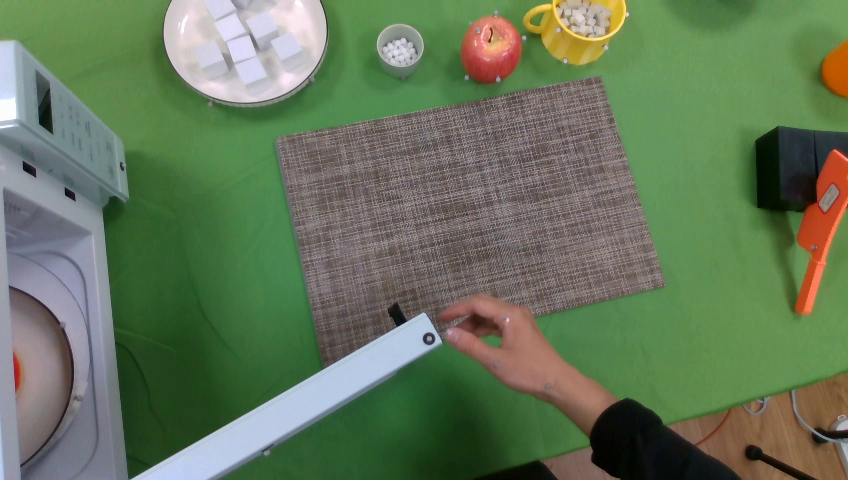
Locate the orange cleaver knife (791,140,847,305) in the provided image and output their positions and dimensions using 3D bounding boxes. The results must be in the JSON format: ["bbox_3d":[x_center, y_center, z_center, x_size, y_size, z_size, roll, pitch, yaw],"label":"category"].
[{"bbox_3d":[0.503,-0.020,0.778,0.012,0.076,0.212,6,111,-1],"label":"orange cleaver knife"}]

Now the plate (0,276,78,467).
[{"bbox_3d":[-0.464,0.139,0.624,0.209,0.038,0.208,1,80,-6],"label":"plate"}]

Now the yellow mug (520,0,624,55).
[{"bbox_3d":[0.195,-0.310,0.818,0.131,0.064,0.099,-2,79,-5],"label":"yellow mug"}]

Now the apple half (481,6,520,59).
[{"bbox_3d":[0.103,-0.276,0.799,0.033,0.081,0.081,-40,84,-6],"label":"apple half"}]

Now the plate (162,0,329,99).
[{"bbox_3d":[-0.228,-0.277,0.789,0.208,0.039,0.206,1,79,-5],"label":"plate"}]

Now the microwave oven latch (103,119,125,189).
[{"bbox_3d":[-0.377,-0.103,0.723,0.030,0.029,0.079,-8,81,-7],"label":"microwave oven latch"}]

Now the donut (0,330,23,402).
[{"bbox_3d":[-0.462,0.133,0.614,0.099,0.048,0.098,1,80,-6],"label":"donut"}]

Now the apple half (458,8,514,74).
[{"bbox_3d":[0.073,-0.251,0.793,0.053,0.075,0.081,-39,88,-6],"label":"apple half"}]

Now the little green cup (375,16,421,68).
[{"bbox_3d":[-0.035,-0.260,0.802,0.061,0.039,0.061,1,79,-4],"label":"little green cup"}]

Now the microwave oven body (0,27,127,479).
[{"bbox_3d":[-0.482,0.074,0.582,0.326,0.261,0.440,-10,81,-7],"label":"microwave oven body"}]

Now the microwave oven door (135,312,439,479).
[{"bbox_3d":[-0.153,0.173,0.587,0.356,0.244,0.039,-29,81,-10],"label":"microwave oven door"}]

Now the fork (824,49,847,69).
[{"bbox_3d":[0.655,-0.270,0.807,0.206,0.019,0.028,-13,74,37],"label":"fork"}]
